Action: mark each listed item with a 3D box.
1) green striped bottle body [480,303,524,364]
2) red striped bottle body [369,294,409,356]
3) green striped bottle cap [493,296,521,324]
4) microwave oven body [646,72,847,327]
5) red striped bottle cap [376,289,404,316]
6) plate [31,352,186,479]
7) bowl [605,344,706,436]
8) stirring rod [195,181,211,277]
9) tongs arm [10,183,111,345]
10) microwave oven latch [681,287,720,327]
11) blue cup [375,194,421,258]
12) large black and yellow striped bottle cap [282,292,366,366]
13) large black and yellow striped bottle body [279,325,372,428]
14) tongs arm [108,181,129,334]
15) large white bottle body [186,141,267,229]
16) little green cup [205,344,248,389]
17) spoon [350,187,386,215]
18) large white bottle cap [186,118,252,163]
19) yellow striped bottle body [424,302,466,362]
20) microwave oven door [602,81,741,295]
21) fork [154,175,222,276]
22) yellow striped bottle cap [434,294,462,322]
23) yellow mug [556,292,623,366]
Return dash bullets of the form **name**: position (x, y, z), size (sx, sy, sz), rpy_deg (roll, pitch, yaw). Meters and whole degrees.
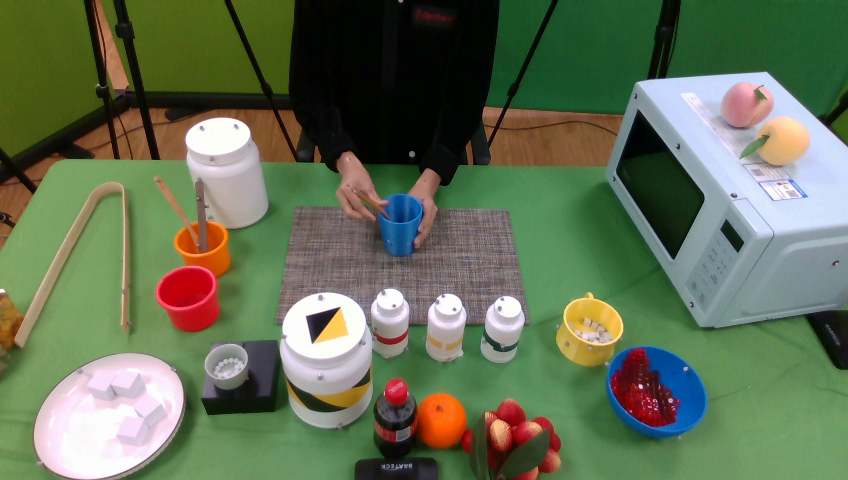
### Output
- **green striped bottle body**: position (0.129, 0.147, 1.000), size (0.063, 0.120, 0.063), rpy_deg (2, 46, -2)
- **red striped bottle body**: position (-0.059, 0.134, 0.997), size (0.063, 0.120, 0.062), rpy_deg (5, 47, -5)
- **green striped bottle cap**: position (0.133, 0.111, 0.962), size (0.044, 0.020, 0.044), rpy_deg (2, 47, -2)
- **microwave oven body**: position (0.607, -0.089, 1.164), size (0.326, 0.261, 0.438), rpy_deg (-7, 46, -10)
- **red striped bottle cap**: position (-0.054, 0.098, 0.958), size (0.044, 0.018, 0.044), rpy_deg (0, 48, 1)
- **plate**: position (-0.459, 0.262, 0.898), size (0.209, 0.038, 0.208), rpy_deg (2, 46, -2)
- **bowl**: position (0.351, 0.247, 0.950), size (0.151, 0.077, 0.150), rpy_deg (2, 46, -2)
- **stirring rod**: position (-0.403, -0.020, 1.104), size (0.014, 0.006, 0.176), rpy_deg (-6, 89, -9)
- **tongs arm**: position (-0.658, 0.027, 1.109), size (0.028, 0.028, 0.385), rpy_deg (-2, 45, 2)
- **microwave oven latch**: position (0.494, 0.119, 1.087), size (0.030, 0.029, 0.078), rpy_deg (-6, 46, -9)
- **blue cup**: position (-0.049, -0.022, 1.159), size (0.092, 0.101, 0.092), rpy_deg (1, 42, -1)
- **large black and yellow striped bottle cap**: position (-0.138, 0.121, 0.841), size (0.115, 0.019, 0.114), rpy_deg (3, 47, -3)
- **large black and yellow striped bottle body**: position (-0.143, 0.181, 0.900), size (0.131, 0.185, 0.130), rpy_deg (2, 46, -2)
- **tongs arm**: position (-0.571, 0.019, 1.123), size (0.051, 0.026, 0.382), rpy_deg (-10, 47, -12)
- **large white bottle body**: position (-0.382, -0.127, 1.176), size (0.131, 0.185, 0.130), rpy_deg (2, 46, -2)
- **little green cup**: position (-0.294, 0.191, 0.909), size (0.061, 0.039, 0.061), rpy_deg (1, 47, -1)
- **spoon**: position (-0.078, -0.046, 1.122), size (0.021, 0.195, 0.041), rpy_deg (-35, 47, 7)
- **large white bottle cap**: position (-0.377, -0.185, 1.115), size (0.115, 0.018, 0.114), rpy_deg (2, 47, -2)
- **yellow striped bottle body**: position (0.035, 0.143, 0.995), size (0.063, 0.121, 0.062), rpy_deg (3, 46, -3)
- **microwave oven door**: position (0.456, -0.107, 1.162), size (0.039, 0.245, 0.353), rpy_deg (-7, 47, -11)
- **fork**: position (-0.431, -0.026, 1.101), size (0.028, 0.018, 0.207), rpy_deg (-33, 100, -25)
- **yellow striped bottle cap**: position (0.038, 0.107, 0.958), size (0.044, 0.019, 0.044), rpy_deg (2, 45, -2)
- **yellow mug**: position (0.285, 0.145, 1.051), size (0.100, 0.064, 0.130), rpy_deg (7, 46, 4)
